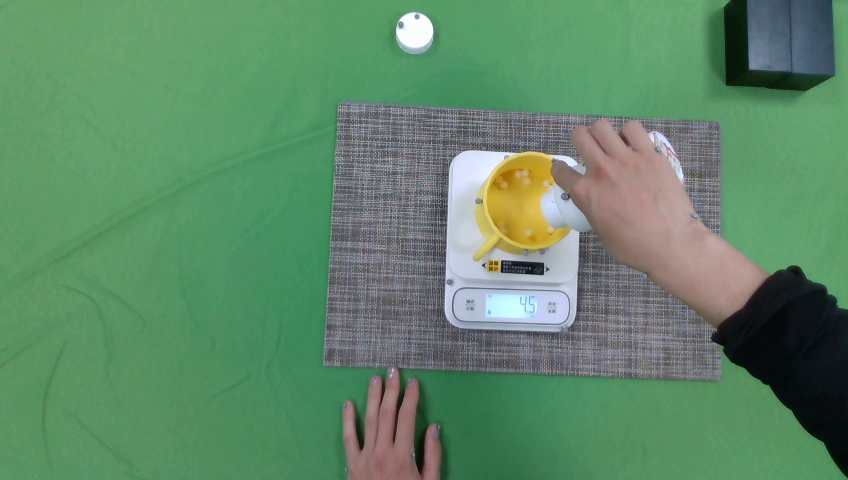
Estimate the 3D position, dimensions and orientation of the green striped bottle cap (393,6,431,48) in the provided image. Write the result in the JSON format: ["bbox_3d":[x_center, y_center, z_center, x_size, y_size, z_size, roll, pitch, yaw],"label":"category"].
[{"bbox_3d":[-0.014,-0.249,0.708,0.044,0.020,0.044,0,88,-2],"label":"green striped bottle cap"}]

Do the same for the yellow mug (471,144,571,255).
[{"bbox_3d":[0.095,-0.033,0.634,0.100,0.064,0.131,42,85,1],"label":"yellow mug"}]

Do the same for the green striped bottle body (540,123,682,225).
[{"bbox_3d":[0.166,-0.054,0.555,0.119,0.063,0.063,-23,84,39],"label":"green striped bottle body"}]

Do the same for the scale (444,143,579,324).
[{"bbox_3d":[0.099,-0.007,0.679,0.149,0.031,0.200,2,86,-2],"label":"scale"}]
